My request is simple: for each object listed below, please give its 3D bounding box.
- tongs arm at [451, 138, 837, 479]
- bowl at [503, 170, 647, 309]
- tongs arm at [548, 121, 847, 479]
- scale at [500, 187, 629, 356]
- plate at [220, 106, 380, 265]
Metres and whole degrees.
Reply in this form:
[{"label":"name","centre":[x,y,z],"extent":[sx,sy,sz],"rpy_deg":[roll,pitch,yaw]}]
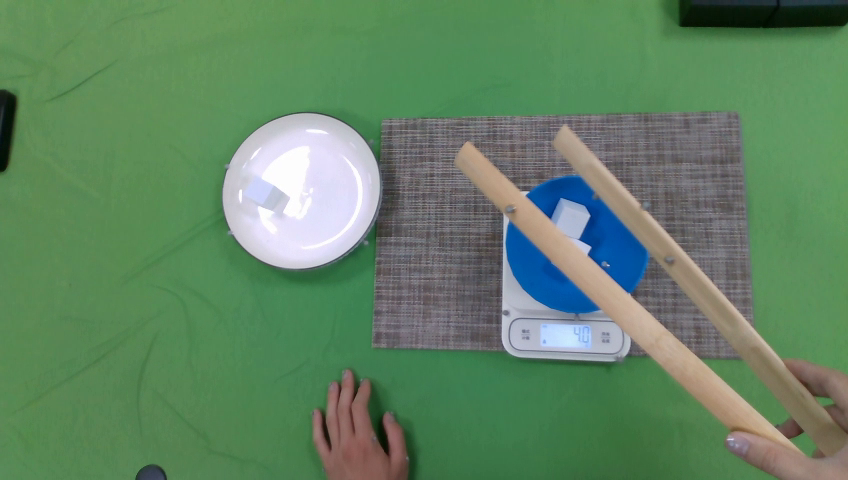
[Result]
[{"label":"tongs arm","centre":[0.158,0.052,0.456],"extent":[0.385,0.028,0.028],"rpy_deg":[45,128,17]},{"label":"bowl","centre":[0.162,0.005,0.675],"extent":[0.151,0.077,0.151],"rpy_deg":[-1,80,5]},{"label":"tongs arm","centre":[0.213,0.034,0.505],"extent":[0.051,0.026,0.381],"rpy_deg":[-13,57,-40]},{"label":"scale","centre":[0.167,0.035,0.723],"extent":[0.148,0.032,0.200],"rpy_deg":[1,80,7]},{"label":"plate","centre":[-0.157,-0.068,0.779],"extent":[0.207,0.039,0.207],"rpy_deg":[-1,80,6]}]
